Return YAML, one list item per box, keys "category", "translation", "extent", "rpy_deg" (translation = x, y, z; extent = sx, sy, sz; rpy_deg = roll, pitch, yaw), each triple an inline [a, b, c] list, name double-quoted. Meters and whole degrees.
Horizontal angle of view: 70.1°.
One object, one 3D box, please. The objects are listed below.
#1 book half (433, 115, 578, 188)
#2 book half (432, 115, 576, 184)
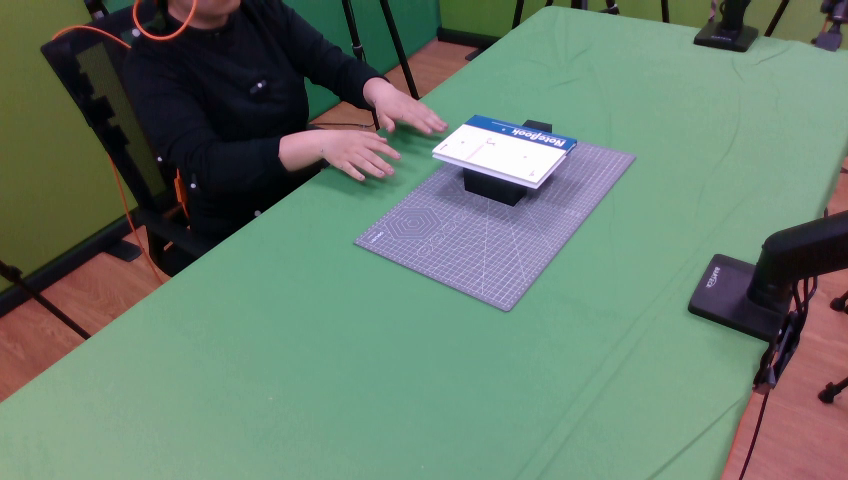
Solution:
- category: "book half"
  translation: [0.140, -0.160, 1.060]
  extent: [0.208, 0.016, 0.149]
  rpy_deg: [22, 47, 30]
- category: "book half"
  translation: [0.138, -0.164, 1.054]
  extent: [0.208, 0.007, 0.143]
  rpy_deg: [22, 48, 29]
